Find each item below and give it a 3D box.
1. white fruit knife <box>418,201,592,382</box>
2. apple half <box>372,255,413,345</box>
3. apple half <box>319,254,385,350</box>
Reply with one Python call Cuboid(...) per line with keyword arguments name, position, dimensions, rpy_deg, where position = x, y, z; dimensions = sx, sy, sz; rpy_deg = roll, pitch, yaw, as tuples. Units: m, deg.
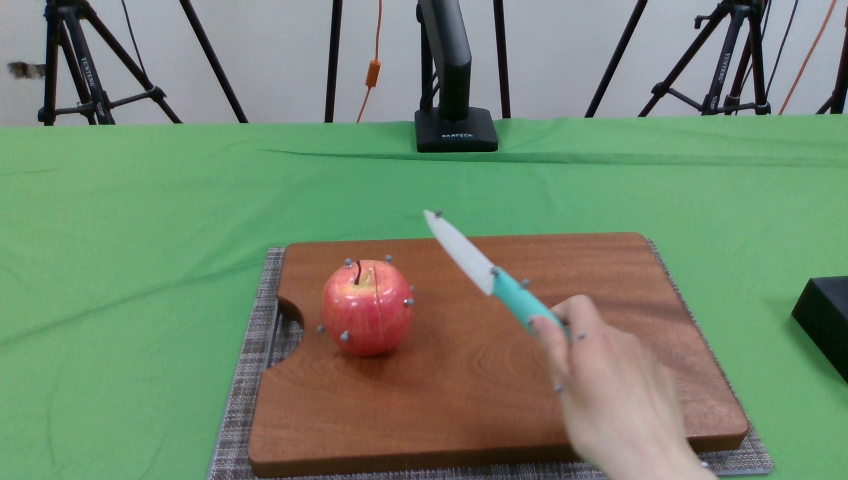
Cuboid(name="white fruit knife", position=(0.057, 0.030, 0.483), dimensions=(0.016, 0.027, 0.205), rpy_deg=(3, 35, -52))
Cuboid(name="apple half", position=(-0.026, 0.052, 0.538), dimensions=(0.033, 0.082, 0.080), rpy_deg=(-9, 40, -5))
Cuboid(name="apple half", position=(-0.064, 0.057, 0.533), dimensions=(0.053, 0.075, 0.080), rpy_deg=(-9, 44, -5))
